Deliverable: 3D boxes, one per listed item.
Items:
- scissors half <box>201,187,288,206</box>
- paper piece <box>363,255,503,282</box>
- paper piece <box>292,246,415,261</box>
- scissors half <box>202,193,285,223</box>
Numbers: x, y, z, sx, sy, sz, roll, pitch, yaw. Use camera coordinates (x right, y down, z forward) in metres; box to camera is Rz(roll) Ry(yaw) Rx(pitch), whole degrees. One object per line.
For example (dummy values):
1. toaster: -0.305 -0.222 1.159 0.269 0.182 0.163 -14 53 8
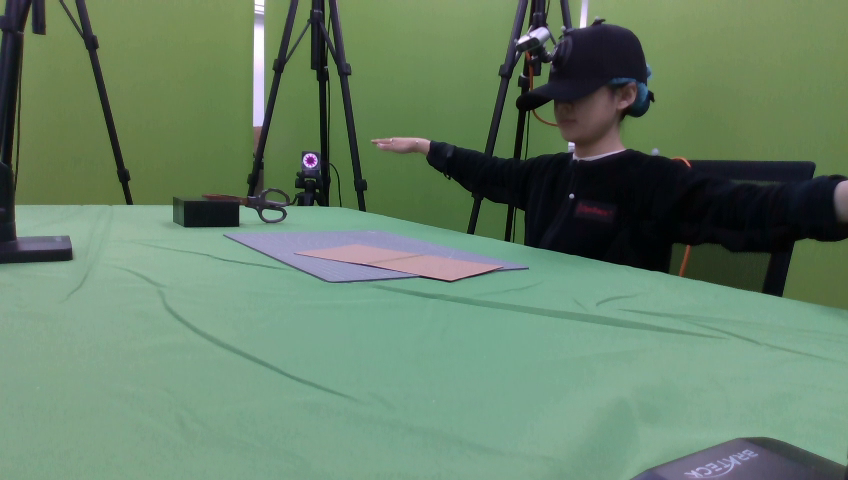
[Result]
1. scissors half: -0.360 -0.088 1.224 0.176 0.040 0.012 -3 20 -32
2. paper piece: 0.014 0.034 0.799 0.135 0.004 0.136 8 10 35
3. paper piece: -0.095 0.020 0.873 0.137 0.008 0.137 7 4 35
4. scissors half: -0.365 -0.069 1.228 0.176 0.040 0.013 18 3 -35
